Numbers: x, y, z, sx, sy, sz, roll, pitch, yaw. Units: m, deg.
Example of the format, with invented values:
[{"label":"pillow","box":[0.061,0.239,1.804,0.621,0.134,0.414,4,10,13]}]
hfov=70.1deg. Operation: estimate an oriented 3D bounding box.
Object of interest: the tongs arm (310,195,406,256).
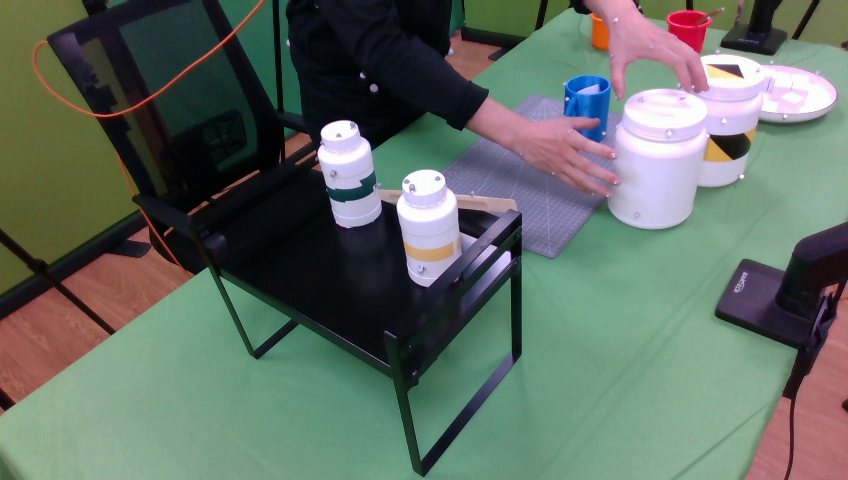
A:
[{"label":"tongs arm","box":[-0.078,-0.012,0.944,0.028,0.028,0.384,-43,39,-22]}]

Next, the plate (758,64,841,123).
[{"label":"plate","box":[0.695,-0.283,1.189,0.207,0.039,0.206,-4,40,4]}]

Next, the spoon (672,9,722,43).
[{"label":"spoon","box":[0.606,-0.476,1.345,0.042,0.021,0.193,-6,-3,-2]}]

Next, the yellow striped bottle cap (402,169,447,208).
[{"label":"yellow striped bottle cap","box":[0.000,-0.052,0.604,0.044,0.019,0.044,-5,43,5]}]

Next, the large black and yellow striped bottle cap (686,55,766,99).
[{"label":"large black and yellow striped bottle cap","box":[0.474,-0.258,0.952,0.115,0.019,0.114,-5,41,5]}]

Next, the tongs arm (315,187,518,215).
[{"label":"tongs arm","box":[-0.028,-0.060,0.988,0.382,0.027,0.051,10,45,36]}]

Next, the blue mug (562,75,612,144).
[{"label":"blue mug","box":[0.298,-0.239,1.143,0.117,0.106,0.081,-37,48,-29]}]

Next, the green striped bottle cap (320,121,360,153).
[{"label":"green striped bottle cap","box":[-0.097,-0.120,0.699,0.044,0.020,0.044,-3,40,3]}]

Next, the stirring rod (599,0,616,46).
[{"label":"stirring rod","box":[0.437,-0.551,1.462,0.014,0.006,0.175,-12,83,1]}]

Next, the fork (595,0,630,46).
[{"label":"fork","box":[0.480,-0.556,1.452,0.028,0.019,0.207,41,103,40]}]

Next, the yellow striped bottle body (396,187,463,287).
[{"label":"yellow striped bottle body","box":[0.006,-0.013,0.638,0.063,0.121,0.062,-5,41,4]}]

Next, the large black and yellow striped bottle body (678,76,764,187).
[{"label":"large black and yellow striped bottle body","box":[0.482,-0.196,1.008,0.131,0.185,0.130,-4,41,4]}]

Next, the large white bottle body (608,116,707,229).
[{"label":"large white bottle body","box":[0.361,-0.123,0.941,0.130,0.185,0.130,-4,41,4]}]

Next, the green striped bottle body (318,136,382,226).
[{"label":"green striped bottle body","box":[-0.090,-0.081,0.733,0.063,0.120,0.063,-5,41,4]}]

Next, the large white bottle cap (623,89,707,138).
[{"label":"large white bottle cap","box":[0.352,-0.187,0.886,0.115,0.018,0.114,-4,41,4]}]
